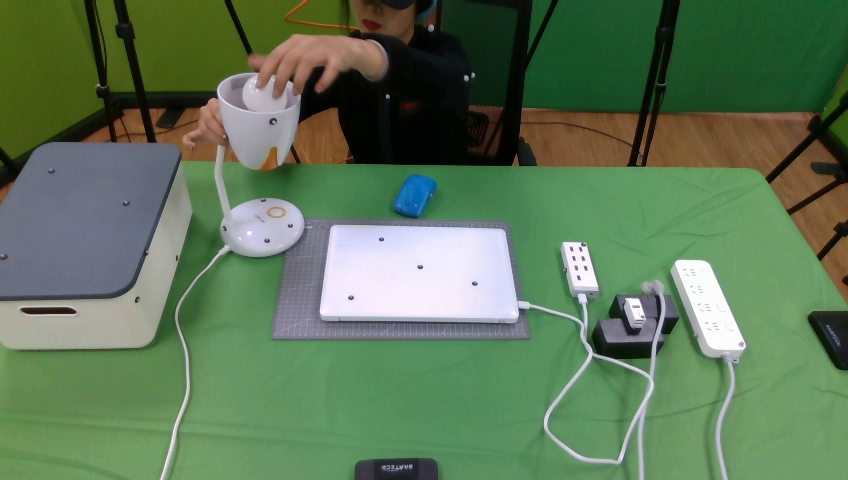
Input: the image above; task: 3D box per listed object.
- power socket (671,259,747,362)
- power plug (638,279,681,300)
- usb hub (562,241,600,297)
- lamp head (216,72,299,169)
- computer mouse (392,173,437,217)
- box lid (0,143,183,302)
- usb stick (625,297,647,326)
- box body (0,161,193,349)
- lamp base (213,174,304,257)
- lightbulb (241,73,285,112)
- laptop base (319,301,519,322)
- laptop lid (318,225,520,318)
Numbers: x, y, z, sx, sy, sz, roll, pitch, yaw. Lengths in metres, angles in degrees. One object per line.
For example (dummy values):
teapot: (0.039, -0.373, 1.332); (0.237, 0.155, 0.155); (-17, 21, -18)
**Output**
power socket: (0.517, 0.119, 1.108); (0.072, 0.033, 0.225); (1, 46, -2)
power plug: (0.434, 0.099, 1.119); (0.073, 0.053, 0.035); (34, 38, -16)
usb hub: (0.300, 0.054, 1.162); (0.049, 0.025, 0.124); (2, 46, -3)
lamp head: (-0.240, -0.166, 0.874); (0.112, 0.123, 0.111); (9, 45, -9)
computer mouse: (-0.018, -0.098, 1.282); (0.062, 0.041, 0.117); (20, 51, 13)
box lid: (-0.567, -0.045, 0.999); (0.263, 0.015, 0.369); (-1, 46, -4)
usb stick: (0.360, 0.116, 1.034); (0.021, 0.027, 0.059); (-2, 44, -2)
box body: (-0.570, 0.006, 1.054); (0.254, 0.161, 0.361); (-1, 46, -4)
lamp base: (-0.324, -0.074, 1.135); (0.160, 0.181, 0.179); (28, 53, 23)
lightbulb: (-0.230, -0.182, 0.857); (0.059, 0.108, 0.059); (12, 33, -8)
laptop base: (-0.009, 0.062, 1.137); (0.354, 0.023, 0.234); (1, 42, -3)
laptop lid: (-0.009, 0.052, 1.131); (0.357, 0.013, 0.240); (2, 43, -2)
